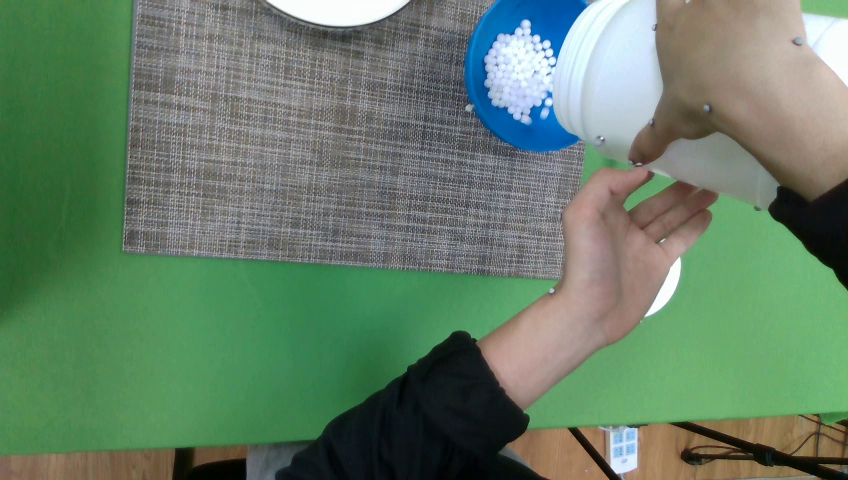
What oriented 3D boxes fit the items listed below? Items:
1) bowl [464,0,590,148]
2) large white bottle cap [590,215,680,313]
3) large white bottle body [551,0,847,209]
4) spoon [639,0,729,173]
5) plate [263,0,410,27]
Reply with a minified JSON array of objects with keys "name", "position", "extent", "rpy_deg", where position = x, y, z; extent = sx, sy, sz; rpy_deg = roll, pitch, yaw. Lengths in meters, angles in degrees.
[{"name":"bowl","position":[0.099,-0.165,0.589],"extent":[0.152,0.076,0.151],"rpy_deg":[-3,99,-17]},{"name":"large white bottle cap","position":[0.245,0.028,0.701],"extent":[0.115,0.018,0.115],"rpy_deg":[-3,99,-18]},{"name":"large white bottle body","position":[0.200,-0.112,0.449],"extent":[0.131,0.183,0.131],"rpy_deg":[-28,132,-36]},{"name":"spoon","position":[0.266,-0.161,0.630],"extent":[0.042,0.021,0.194],"rpy_deg":[17,98,-22]},{"name":"plate","position":[-0.085,-0.291,0.533],"extent":[0.210,0.038,0.209],"rpy_deg":[-2,96,-18]}]
